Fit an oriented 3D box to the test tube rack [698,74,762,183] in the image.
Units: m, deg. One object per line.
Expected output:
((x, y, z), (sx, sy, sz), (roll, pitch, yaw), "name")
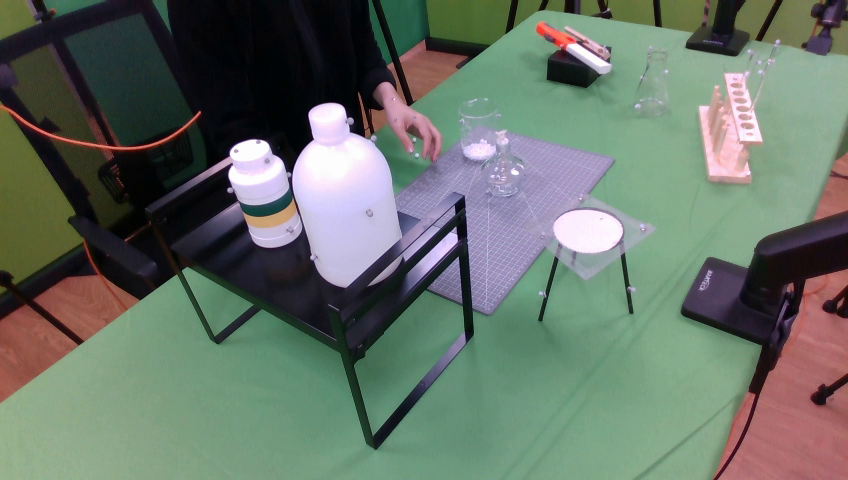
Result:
((0.547, -0.208, 1.095), (0.066, 0.085, 0.242), (5, 42, 15), "test tube rack")

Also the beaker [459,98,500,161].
((0.104, -0.208, 1.142), (0.074, 0.101, 0.083), (-20, 42, -15), "beaker")

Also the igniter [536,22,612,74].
((0.330, -0.439, 1.366), (0.057, 0.025, 0.274), (-12, 41, -19), "igniter")

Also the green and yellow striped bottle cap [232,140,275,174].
((-0.192, -0.094, 0.680), (0.045, 0.020, 0.045), (-5, 39, 5), "green and yellow striped bottle cap")

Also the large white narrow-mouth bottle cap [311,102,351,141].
((-0.089, -0.114, 0.579), (0.038, 0.024, 0.037), (-4, 39, 3), "large white narrow-mouth bottle cap")

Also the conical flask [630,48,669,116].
((0.456, -0.317, 1.205), (0.075, 0.122, 0.075), (-4, 41, 4), "conical flask")

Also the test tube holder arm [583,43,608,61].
((0.379, -0.420, 1.341), (0.010, 0.015, 0.087), (-39, 41, 10), "test tube holder arm")

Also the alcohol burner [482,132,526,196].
((0.137, -0.136, 1.042), (0.078, 0.119, 0.077), (-4, 43, 4), "alcohol burner")

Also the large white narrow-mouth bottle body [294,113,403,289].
((-0.082, -0.047, 0.634), (0.102, 0.195, 0.101), (-4, 40, 4), "large white narrow-mouth bottle body")

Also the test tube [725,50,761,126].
((0.570, -0.269, 1.086), (0.017, 0.151, 0.017), (-1, 45, 2), "test tube")

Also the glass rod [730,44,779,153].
((0.555, -0.234, 1.020), (0.008, 0.200, 0.008), (2, 40, -1), "glass rod")

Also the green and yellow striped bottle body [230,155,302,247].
((-0.188, -0.055, 0.714), (0.063, 0.120, 0.063), (-4, 41, 4), "green and yellow striped bottle body")

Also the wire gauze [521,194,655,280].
((0.207, -0.012, 0.772), (0.122, 0.011, 0.124), (-28, 44, -20), "wire gauze")

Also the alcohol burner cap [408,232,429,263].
((-0.009, 0.010, 0.946), (0.034, 0.048, 0.033), (-2, 41, 2), "alcohol burner cap")

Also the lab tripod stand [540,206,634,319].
((0.218, 0.034, 0.821), (0.148, 0.132, 0.147), (-4, 42, 4), "lab tripod stand")

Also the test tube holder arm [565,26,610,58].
((0.369, -0.450, 1.373), (0.013, 0.015, 0.177), (-39, 41, 10), "test tube holder arm")
